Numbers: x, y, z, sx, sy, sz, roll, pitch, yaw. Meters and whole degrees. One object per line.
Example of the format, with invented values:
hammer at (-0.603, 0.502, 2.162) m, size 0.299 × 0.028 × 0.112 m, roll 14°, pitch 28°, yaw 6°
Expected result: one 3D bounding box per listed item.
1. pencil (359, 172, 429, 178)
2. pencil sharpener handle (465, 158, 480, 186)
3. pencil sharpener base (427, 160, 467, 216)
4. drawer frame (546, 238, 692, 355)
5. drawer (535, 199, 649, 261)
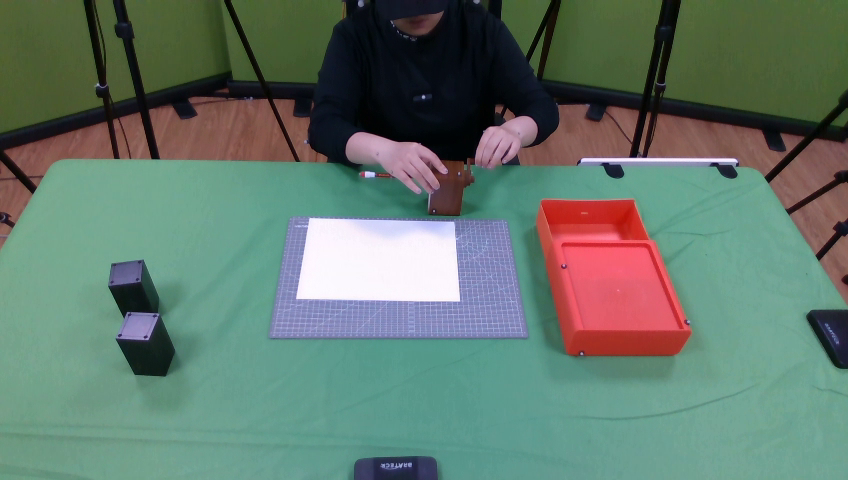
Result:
pencil at (-0.034, -0.129, 1.219) m, size 0.194 × 0.012 × 0.012 m, roll 1°, pitch 45°, yaw -2°
pencil sharpener handle at (0.099, -0.137, 1.233) m, size 0.031 × 0.036 × 0.067 m, roll 2°, pitch 67°, yaw -2°
pencil sharpener base at (0.046, -0.105, 1.245) m, size 0.077 × 0.107 × 0.061 m, roll 2°, pitch 46°, yaw -2°
drawer frame at (0.338, 0.097, 1.086) m, size 0.202 × 0.083 × 0.212 m, roll 0°, pitch 46°, yaw -4°
drawer at (0.332, 0.015, 1.169) m, size 0.195 × 0.073 × 0.210 m, roll 0°, pitch 46°, yaw -5°
